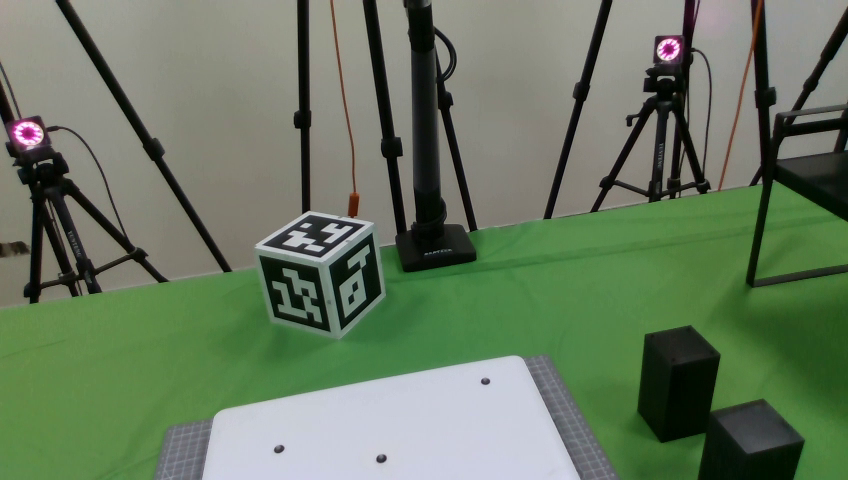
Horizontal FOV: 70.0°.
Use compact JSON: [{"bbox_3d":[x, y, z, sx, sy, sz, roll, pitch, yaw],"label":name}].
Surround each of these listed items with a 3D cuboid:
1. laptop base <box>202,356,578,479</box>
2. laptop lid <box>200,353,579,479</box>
[{"bbox_3d":[-0.041,0.223,0.600,0.355,0.023,0.233,-9,31,-7],"label":"laptop base"},{"bbox_3d":[-0.042,0.213,0.592,0.357,0.013,0.239,-8,30,-5],"label":"laptop lid"}]
